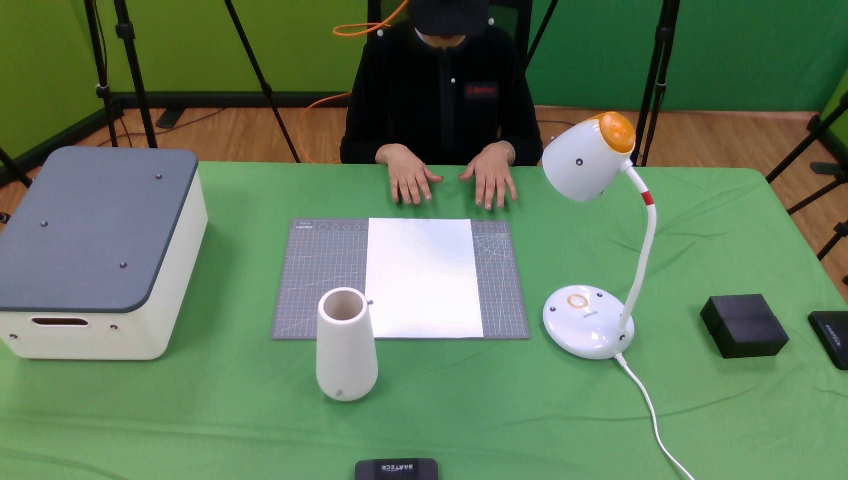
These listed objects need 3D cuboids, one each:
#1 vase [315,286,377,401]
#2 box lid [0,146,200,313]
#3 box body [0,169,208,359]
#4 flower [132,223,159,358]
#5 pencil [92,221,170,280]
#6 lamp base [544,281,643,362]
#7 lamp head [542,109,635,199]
[{"bbox_3d":[-0.119,0.159,0.911,0.098,0.201,0.097,2,47,-2],"label":"vase"},{"bbox_3d":[-0.536,-0.034,0.989,0.263,0.015,0.369,1,46,-3],"label":"box lid"},{"bbox_3d":[-0.541,0.021,1.042,0.254,0.161,0.361,1,46,-3],"label":"box body"},{"bbox_3d":[-0.505,0.073,1.095,0.044,0.038,0.359,-41,43,9],"label":"flower"},{"bbox_3d":[-0.552,0.015,1.153,0.012,0.012,0.193,20,42,15],"label":"pencil"},{"bbox_3d":[0.304,0.095,1.014,0.161,0.181,0.178,-24,54,-24],"label":"lamp base"},{"bbox_3d":[0.253,-0.131,0.893,0.113,0.123,0.112,10,66,-24],"label":"lamp head"}]
